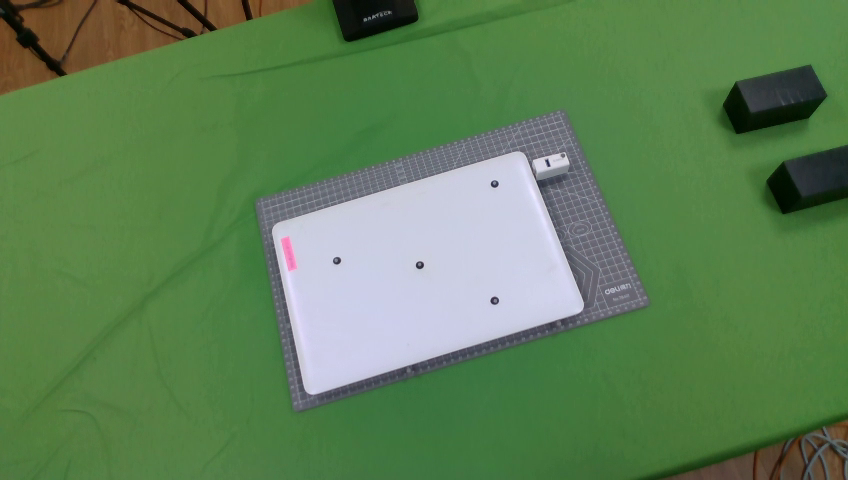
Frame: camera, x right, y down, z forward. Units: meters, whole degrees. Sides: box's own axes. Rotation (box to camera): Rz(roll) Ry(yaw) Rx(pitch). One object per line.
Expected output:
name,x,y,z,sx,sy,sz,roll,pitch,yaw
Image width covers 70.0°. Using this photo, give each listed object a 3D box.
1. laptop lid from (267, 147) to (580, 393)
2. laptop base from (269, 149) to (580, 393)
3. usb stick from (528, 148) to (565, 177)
laptop lid,-0.009,0.030,0.761,0.357,0.013,0.240,-16,70,0
laptop base,-0.008,0.032,0.773,0.354,0.023,0.234,-17,71,-1
usb stick,0.153,-0.100,0.795,0.059,0.027,0.021,-16,68,2
